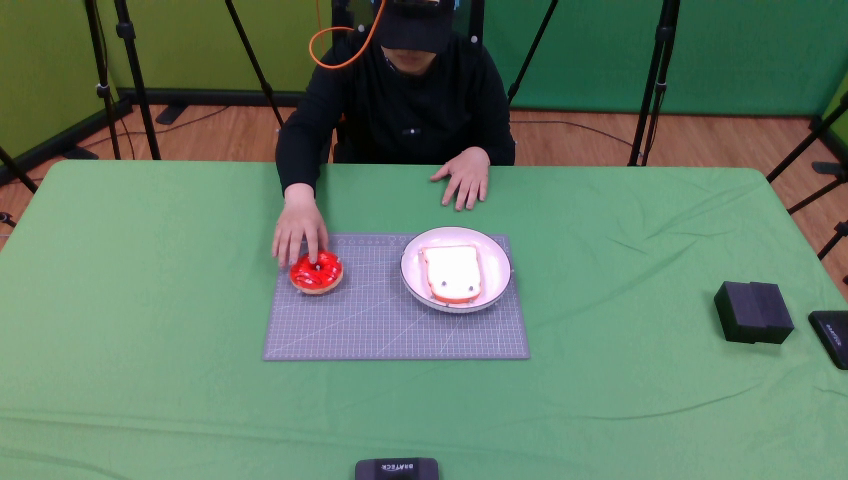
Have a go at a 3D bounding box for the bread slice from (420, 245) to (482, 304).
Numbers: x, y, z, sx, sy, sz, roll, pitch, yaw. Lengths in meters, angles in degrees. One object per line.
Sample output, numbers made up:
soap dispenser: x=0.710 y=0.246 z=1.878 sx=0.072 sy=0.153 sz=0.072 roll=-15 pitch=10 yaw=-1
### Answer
bread slice: x=0.056 y=0.063 z=1.131 sx=0.107 sy=0.018 sz=0.133 roll=-5 pitch=46 yaw=-8

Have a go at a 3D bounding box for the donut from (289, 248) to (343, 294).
donut: x=-0.197 y=0.056 z=1.111 sx=0.099 sy=0.048 sz=0.098 roll=1 pitch=44 yaw=-1

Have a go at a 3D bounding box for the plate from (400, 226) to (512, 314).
plate: x=0.057 y=0.058 z=1.134 sx=0.209 sy=0.038 sz=0.208 roll=2 pitch=46 yaw=-2
